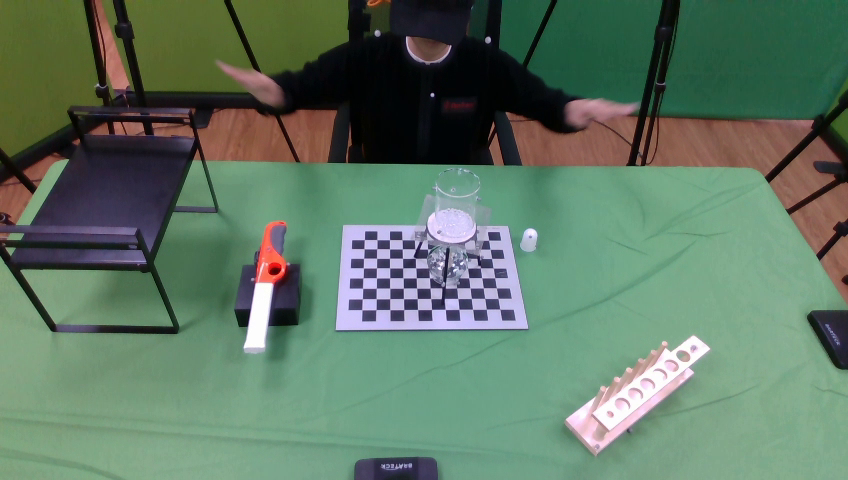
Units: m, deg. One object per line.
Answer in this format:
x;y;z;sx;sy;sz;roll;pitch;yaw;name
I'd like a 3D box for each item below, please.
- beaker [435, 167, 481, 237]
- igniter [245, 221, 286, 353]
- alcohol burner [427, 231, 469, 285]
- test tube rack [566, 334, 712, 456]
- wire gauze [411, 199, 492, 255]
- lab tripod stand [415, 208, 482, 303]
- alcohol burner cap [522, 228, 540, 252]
0.054;-0.063;1.016;0.074;0.101;0.083;5;45;3;beaker
-0.270;0.070;1.040;0.057;0.025;0.274;2;48;-6;igniter
0.046;0.027;1.103;0.078;0.119;0.077;3;45;-3;alcohol burner
0.338;0.228;0.950;0.242;0.085;0.066;-26;52;-26;test tube rack
0.049;-0.028;1.052;0.125;0.011;0.121;10;44;12;wire gauze
0.043;0.019;1.097;0.148;0.132;0.147;0;46;0;lab tripod stand
0.214;-0.003;1.198;0.034;0.048;0.033;1;46;-1;alcohol burner cap
